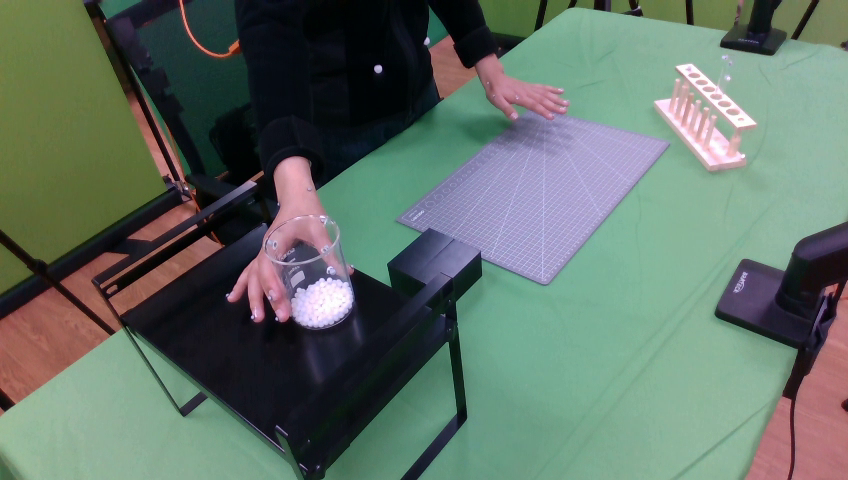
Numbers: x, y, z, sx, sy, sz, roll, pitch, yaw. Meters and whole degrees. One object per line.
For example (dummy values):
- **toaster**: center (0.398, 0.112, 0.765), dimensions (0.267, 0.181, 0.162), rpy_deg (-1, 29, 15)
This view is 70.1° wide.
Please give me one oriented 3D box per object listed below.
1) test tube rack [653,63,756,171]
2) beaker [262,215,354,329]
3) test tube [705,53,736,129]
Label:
- **test tube rack**: center (0.510, -0.233, 1.120), dimensions (0.067, 0.085, 0.241), rpy_deg (-9, 41, -1)
- **beaker**: center (-0.112, 0.034, 0.616), dimensions (0.073, 0.101, 0.084), rpy_deg (13, 44, 22)
- **test tube**: center (0.526, -0.260, 1.073), dimensions (0.017, 0.151, 0.017), rpy_deg (-3, 44, 3)
